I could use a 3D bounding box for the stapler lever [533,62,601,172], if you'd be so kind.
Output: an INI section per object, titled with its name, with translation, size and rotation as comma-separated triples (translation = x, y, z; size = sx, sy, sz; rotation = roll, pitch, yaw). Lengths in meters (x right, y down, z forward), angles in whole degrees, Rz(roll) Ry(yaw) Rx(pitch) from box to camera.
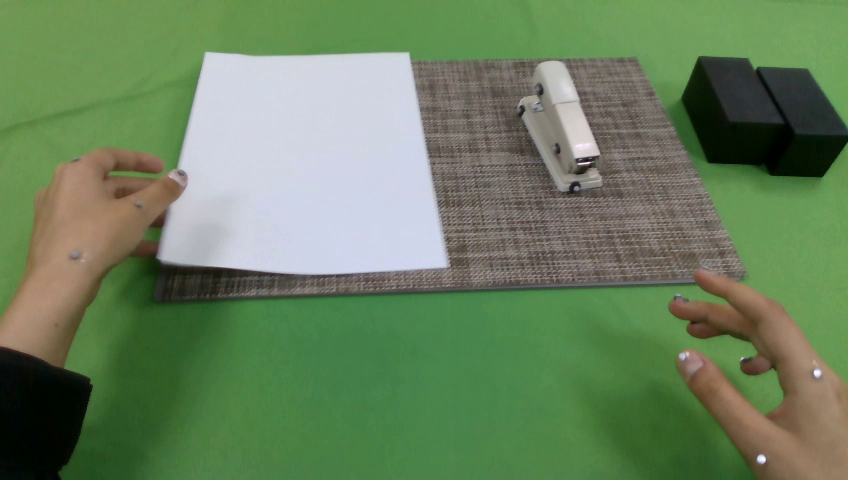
[stapler lever]
translation = 0.127, -0.113, 0.544
size = 0.027, 0.040, 0.117
rotation = -11, 53, -7

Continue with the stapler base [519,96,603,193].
[stapler base]
translation = 0.126, -0.099, 0.565
size = 0.041, 0.024, 0.129
rotation = -10, 53, -7
